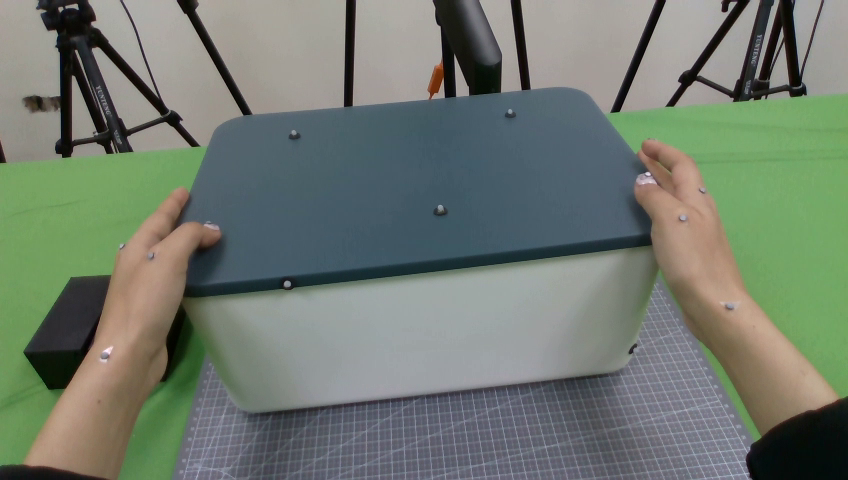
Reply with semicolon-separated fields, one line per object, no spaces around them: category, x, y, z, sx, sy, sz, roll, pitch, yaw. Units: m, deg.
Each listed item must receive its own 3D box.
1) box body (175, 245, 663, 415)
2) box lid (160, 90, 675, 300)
box body;-0.005;0.004;0.558;0.364;0.162;0.251;-6;38;-3
box lid;-0.012;-0.056;0.512;0.372;0.015;0.260;-6;37;-3
